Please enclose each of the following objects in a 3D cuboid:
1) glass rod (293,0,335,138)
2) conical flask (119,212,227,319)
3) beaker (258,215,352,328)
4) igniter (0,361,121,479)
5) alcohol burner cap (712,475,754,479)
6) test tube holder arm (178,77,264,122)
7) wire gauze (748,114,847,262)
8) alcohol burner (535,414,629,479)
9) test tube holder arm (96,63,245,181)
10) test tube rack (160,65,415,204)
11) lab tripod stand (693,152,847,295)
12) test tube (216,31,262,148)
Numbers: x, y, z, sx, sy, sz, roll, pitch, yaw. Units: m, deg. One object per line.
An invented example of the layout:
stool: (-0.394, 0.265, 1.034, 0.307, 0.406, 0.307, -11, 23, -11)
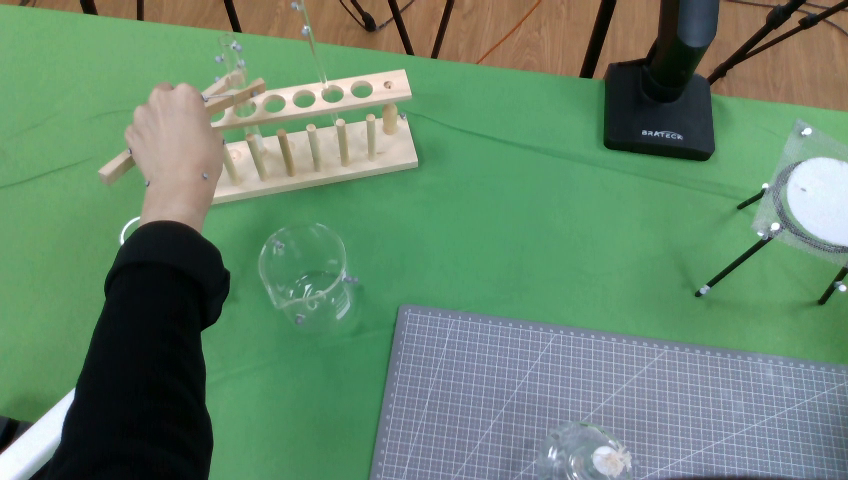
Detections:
glass rod: (-0.104, -0.166, 0.585, 0.008, 0.201, 0.008, -2, 58, 4)
conical flask: (-0.230, 0.019, 0.547, 0.075, 0.123, 0.074, 1, 64, -1)
beaker: (-0.106, 0.037, 0.555, 0.074, 0.101, 0.083, 22, 66, 9)
igniter: (-0.352, 0.204, 0.456, 0.057, 0.025, 0.276, 34, 68, 24)
alcohol burner cap: (0.266, 0.213, 0.510, 0.034, 0.048, 0.033, 1, 65, -2)
test tube holder arm: (-0.189, -0.131, 0.562, 0.088, 0.015, 0.010, -31, 68, -33)
wire gauze: (0.350, -0.038, 0.508, 0.121, 0.011, 0.124, 28, 68, 9)
alcohol burner: (0.131, 0.176, 0.485, 0.078, 0.120, 0.077, 2, 64, -3)
test tube holder arm: (-0.218, -0.109, 0.537, 0.013, 0.015, 0.177, 30, 52, 8)
test tube rack: (-0.134, -0.109, 0.630, 0.243, 0.086, 0.066, -12, 65, -7)
lab tripod stand: (0.341, -0.008, 0.569, 0.148, 0.132, 0.147, 1, 64, -2)
test tube: (-0.177, -0.140, 0.588, 0.017, 0.151, 0.017, 2, 60, -3)
